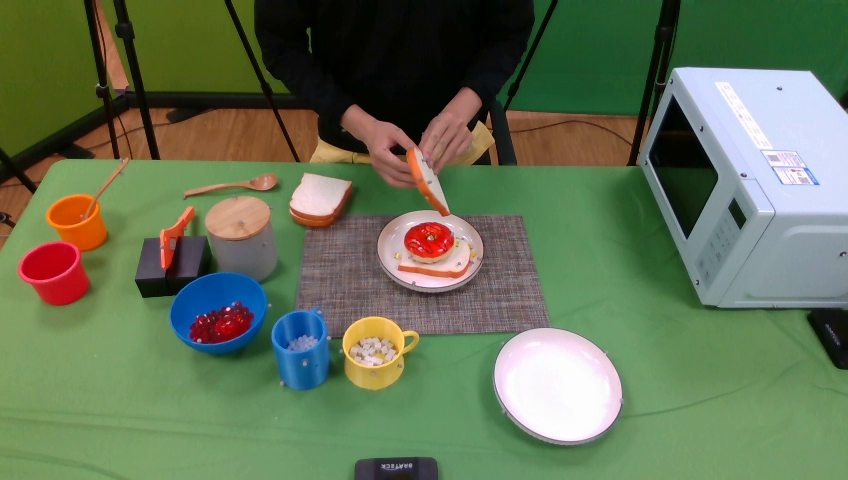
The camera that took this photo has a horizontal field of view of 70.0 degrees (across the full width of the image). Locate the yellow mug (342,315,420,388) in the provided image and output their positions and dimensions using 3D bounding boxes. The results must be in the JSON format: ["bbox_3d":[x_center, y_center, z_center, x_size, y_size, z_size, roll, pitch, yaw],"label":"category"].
[{"bbox_3d":[-0.068,0.177,0.990,0.131,0.064,0.099,-16,50,-19],"label":"yellow mug"}]

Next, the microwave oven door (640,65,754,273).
[{"bbox_3d":[0.522,-0.147,1.193,0.039,0.245,0.353,0,47,-3],"label":"microwave oven door"}]

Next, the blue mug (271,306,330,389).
[{"bbox_3d":[-0.188,0.163,0.969,0.082,0.106,0.116,15,47,10],"label":"blue mug"}]

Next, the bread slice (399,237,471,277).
[{"bbox_3d":[0.025,0.025,1.160,0.131,0.019,0.104,7,47,7],"label":"bread slice"}]

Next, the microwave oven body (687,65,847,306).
[{"bbox_3d":[0.669,-0.111,1.176,0.326,0.261,0.439,0,46,-3],"label":"microwave oven body"}]

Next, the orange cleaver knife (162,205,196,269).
[{"bbox_3d":[-0.454,-0.010,1.129,0.012,0.077,0.210,-1,20,-5],"label":"orange cleaver knife"}]

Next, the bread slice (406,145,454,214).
[{"bbox_3d":[0.009,-0.105,1.044,0.018,0.135,0.106,-27,73,12],"label":"bread slice"}]

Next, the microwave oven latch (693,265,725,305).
[{"bbox_3d":[0.522,0.081,1.115,0.030,0.029,0.078,2,46,-1],"label":"microwave oven latch"}]

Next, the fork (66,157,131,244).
[{"bbox_3d":[-0.608,-0.074,1.132,0.207,0.019,0.028,-52,48,10],"label":"fork"}]

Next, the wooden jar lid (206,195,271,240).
[{"bbox_3d":[-0.319,-0.036,1.046,0.108,0.021,0.107,1,44,0],"label":"wooden jar lid"}]

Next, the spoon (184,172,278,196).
[{"bbox_3d":[-0.405,-0.116,1.275,0.194,0.022,0.041,-8,66,-12],"label":"spoon"}]

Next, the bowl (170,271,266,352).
[{"bbox_3d":[-0.333,0.132,1.006,0.151,0.077,0.150,2,46,-2],"label":"bowl"}]

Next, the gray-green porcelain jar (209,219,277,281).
[{"bbox_3d":[-0.323,0.007,1.092,0.106,0.127,0.105,2,46,-2],"label":"gray-green porcelain jar"}]

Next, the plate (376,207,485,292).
[{"bbox_3d":[0.012,0.021,1.158,0.209,0.038,0.208,2,47,-2],"label":"plate"}]

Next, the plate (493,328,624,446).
[{"bbox_3d":[0.213,0.236,0.974,0.208,0.039,0.206,2,46,-2],"label":"plate"}]

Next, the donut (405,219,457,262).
[{"bbox_3d":[0.012,0.000,1.140,0.099,0.048,0.098,0,44,0],"label":"donut"}]
